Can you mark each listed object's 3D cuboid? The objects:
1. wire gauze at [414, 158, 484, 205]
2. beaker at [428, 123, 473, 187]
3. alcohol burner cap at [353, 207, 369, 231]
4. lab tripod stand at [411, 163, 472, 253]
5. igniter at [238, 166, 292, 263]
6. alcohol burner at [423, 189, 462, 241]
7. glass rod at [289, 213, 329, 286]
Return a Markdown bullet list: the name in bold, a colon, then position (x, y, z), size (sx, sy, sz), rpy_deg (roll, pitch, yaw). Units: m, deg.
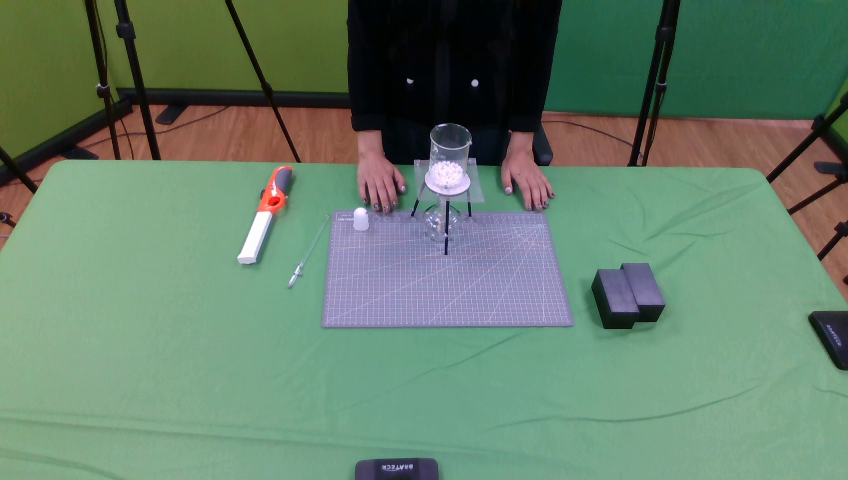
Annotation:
- **wire gauze**: position (0.045, -0.113, 1.137), size (0.125, 0.011, 0.120), rpy_deg (1, 48, -6)
- **beaker**: position (0.044, -0.154, 1.110), size (0.074, 0.101, 0.083), rpy_deg (-25, 54, -25)
- **alcohol burner cap**: position (-0.127, -0.046, 1.215), size (0.034, 0.048, 0.033), rpy_deg (3, 48, -3)
- **lab tripod stand**: position (0.042, -0.069, 1.187), size (0.148, 0.132, 0.147), rpy_deg (3, 47, -3)
- **igniter**: position (-0.319, -0.060, 1.229), size (0.057, 0.025, 0.275), rpy_deg (-2, 45, 10)
- **alcohol burner**: position (0.036, -0.055, 1.187), size (0.078, 0.120, 0.077), rpy_deg (1, 48, -1)
- **glass rod**: position (-0.221, 0.014, 1.179), size (0.008, 0.008, 0.199), rpy_deg (12, 47, 9)
